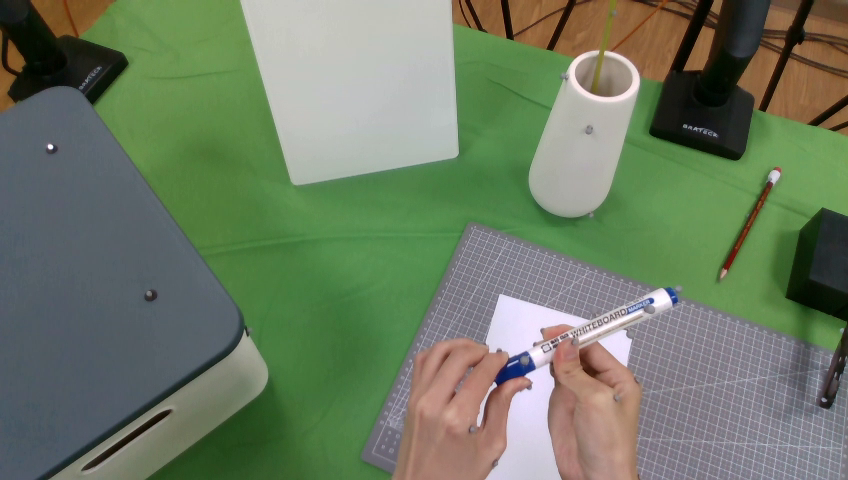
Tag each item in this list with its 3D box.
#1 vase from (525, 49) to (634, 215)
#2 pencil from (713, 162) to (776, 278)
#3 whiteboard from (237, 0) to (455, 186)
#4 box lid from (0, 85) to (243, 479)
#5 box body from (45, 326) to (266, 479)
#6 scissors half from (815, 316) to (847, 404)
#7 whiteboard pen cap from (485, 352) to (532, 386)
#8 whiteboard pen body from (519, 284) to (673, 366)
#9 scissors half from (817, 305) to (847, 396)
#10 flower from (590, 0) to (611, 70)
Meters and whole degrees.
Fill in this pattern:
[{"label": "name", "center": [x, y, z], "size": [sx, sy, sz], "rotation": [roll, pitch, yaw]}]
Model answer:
[{"label": "vase", "center": [0.170, -0.114, 0.673], "size": [0.098, 0.201, 0.097], "rotation": [0, 59, 1]}, {"label": "pencil", "center": [0.388, -0.027, 0.733], "size": [0.012, 0.012, 0.193], "rotation": [31, 67, 17]}, {"label": "whiteboard", "center": [-0.089, -0.246, 0.719], "size": [0.217, 0.308, 0.142], "rotation": [-11, 42, -5]}, {"label": "box lid", "center": [-0.357, 0.023, 0.530], "size": [0.263, 0.015, 0.368], "rotation": [-36, 67, -19]}, {"label": "box body", "center": [-0.356, 0.061, 0.595], "size": [0.254, 0.161, 0.361], "rotation": [-36, 67, -18]}, {"label": "scissors half", "center": [0.438, 0.088, 0.630], "size": [0.012, 0.040, 0.175], "rotation": [18, 81, 36]}, {"label": "whiteboard pen cap", "center": [0.063, 0.093, 0.442], "size": [0.033, 0.018, 0.018], "rotation": [-22, 62, 0]}, {"label": "whiteboard pen body", "center": [0.116, 0.066, 0.442], "size": [0.141, 0.017, 0.017], "rotation": [-25, 63, 0]}, {"label": "scissors half", "center": [0.429, 0.079, 0.614], "size": [0.012, 0.040, 0.174], "rotation": [19, 64, 31]}, {"label": "flower", "center": [0.168, -0.168, 0.607], "size": [0.044, 0.365, 0.038], "rotation": [14, 44, 12]}]
